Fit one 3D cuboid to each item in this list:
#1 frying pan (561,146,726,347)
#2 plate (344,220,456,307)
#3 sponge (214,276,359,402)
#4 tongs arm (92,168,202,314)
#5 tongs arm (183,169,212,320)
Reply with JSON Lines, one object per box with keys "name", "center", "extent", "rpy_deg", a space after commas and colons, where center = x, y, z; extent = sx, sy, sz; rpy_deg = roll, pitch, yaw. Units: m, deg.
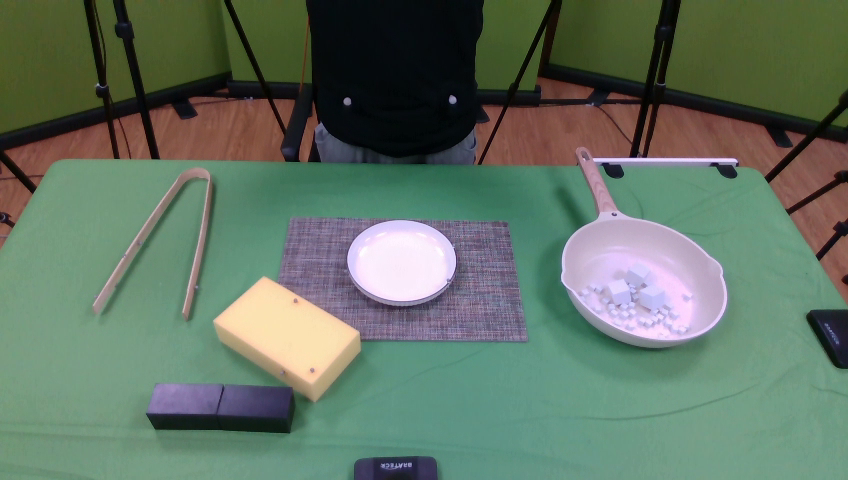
{"name": "frying pan", "center": [0.378, -0.005, 1.175], "extent": [0.307, 0.103, 0.484], "rpy_deg": [-4, 55, -9]}
{"name": "plate", "center": [-0.044, 0.047, 1.133], "extent": [0.208, 0.039, 0.206], "rpy_deg": [3, 46, -2]}
{"name": "sponge", "center": [-0.225, 0.158, 0.998], "extent": [0.206, 0.061, 0.118], "rpy_deg": [27, 52, 18]}
{"name": "tongs arm", "center": [-0.518, -0.012, 1.161], "extent": [0.051, 0.026, 0.382], "rpy_deg": [7, 45, 1]}
{"name": "tongs arm", "center": [-0.437, -0.006, 1.166], "extent": [0.028, 0.028, 0.385], "rpy_deg": [-5, 47, -6]}
